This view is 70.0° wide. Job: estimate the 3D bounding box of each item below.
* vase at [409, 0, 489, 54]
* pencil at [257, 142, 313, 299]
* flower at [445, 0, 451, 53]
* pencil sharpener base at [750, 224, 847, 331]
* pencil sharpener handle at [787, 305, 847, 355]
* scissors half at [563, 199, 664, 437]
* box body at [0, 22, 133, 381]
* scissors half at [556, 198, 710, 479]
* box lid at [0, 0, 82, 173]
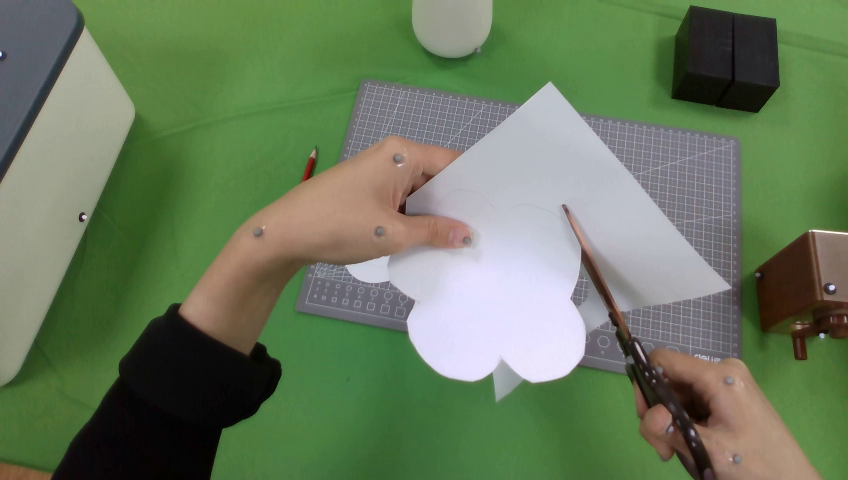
[{"bbox_3d":[0.029,-0.303,0.674,0.098,0.201,0.097,0,66,1],"label":"vase"},{"bbox_3d":[-0.148,-0.027,0.661,0.012,0.012,0.193,11,66,5],"label":"pencil"},{"bbox_3d":[0.024,-0.349,0.603,0.044,0.365,0.038,3,49,5],"label":"flower"},{"bbox_3d":[0.369,0.042,0.580,0.061,0.108,0.076,6,67,3],"label":"pencil sharpener base"},{"bbox_3d":[0.359,0.083,0.549,0.036,0.068,0.030,11,67,-10],"label":"pencil sharpener handle"},{"bbox_3d":[0.116,0.050,0.363,0.013,0.039,0.176,-26,114,7],"label":"scissors half"},{"bbox_3d":[-0.483,-0.059,0.590,0.254,0.161,0.361,10,68,4],"label":"box body"},{"bbox_3d":[0.116,0.053,0.340,0.013,0.040,0.174,-27,84,2],"label":"scissors half"},{"bbox_3d":[-0.484,-0.091,0.522,0.263,0.015,0.369,10,67,4],"label":"box lid"}]
